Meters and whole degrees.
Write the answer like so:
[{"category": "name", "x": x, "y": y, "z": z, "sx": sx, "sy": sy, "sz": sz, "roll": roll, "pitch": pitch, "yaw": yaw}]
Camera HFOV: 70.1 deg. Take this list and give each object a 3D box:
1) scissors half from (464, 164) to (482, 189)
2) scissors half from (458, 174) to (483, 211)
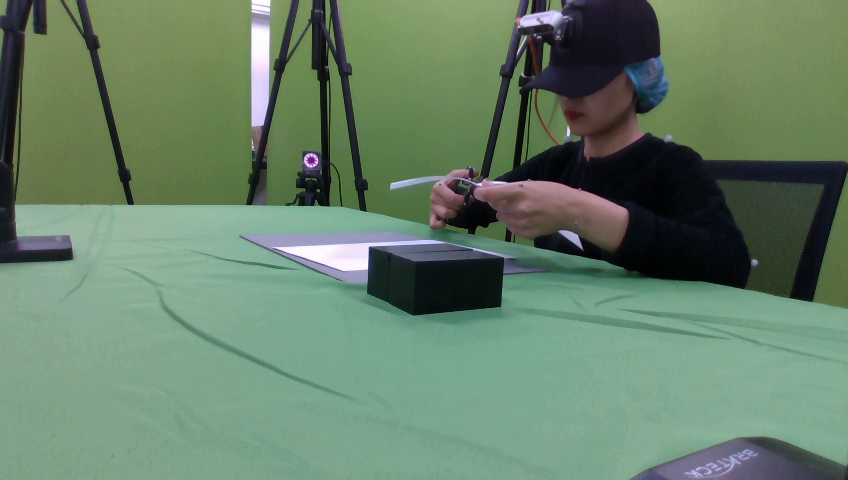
[{"category": "scissors half", "x": 0.088, "y": -0.108, "z": 1.070, "sx": 0.013, "sy": 0.040, "sz": 0.175, "roll": 10, "pitch": 13, "yaw": -5}, {"category": "scissors half", "x": 0.083, "y": -0.086, "z": 1.069, "sx": 0.013, "sy": 0.040, "sz": 0.175, "roll": 15, "pitch": -17, "yaw": -5}]
